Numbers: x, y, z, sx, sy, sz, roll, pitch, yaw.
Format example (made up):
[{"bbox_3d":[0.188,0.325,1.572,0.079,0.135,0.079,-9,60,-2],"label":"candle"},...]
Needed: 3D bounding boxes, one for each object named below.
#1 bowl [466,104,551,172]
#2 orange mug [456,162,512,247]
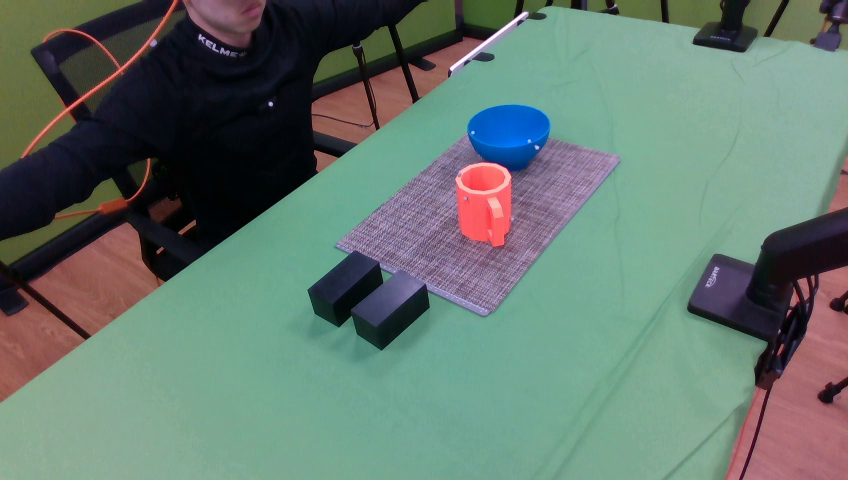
[{"bbox_3d":[0.155,-0.177,1.105,0.151,0.077,0.150,-4,40,4],"label":"bowl"},{"bbox_3d":[0.100,-0.050,0.949,0.083,0.101,0.125,-13,37,-6],"label":"orange mug"}]
